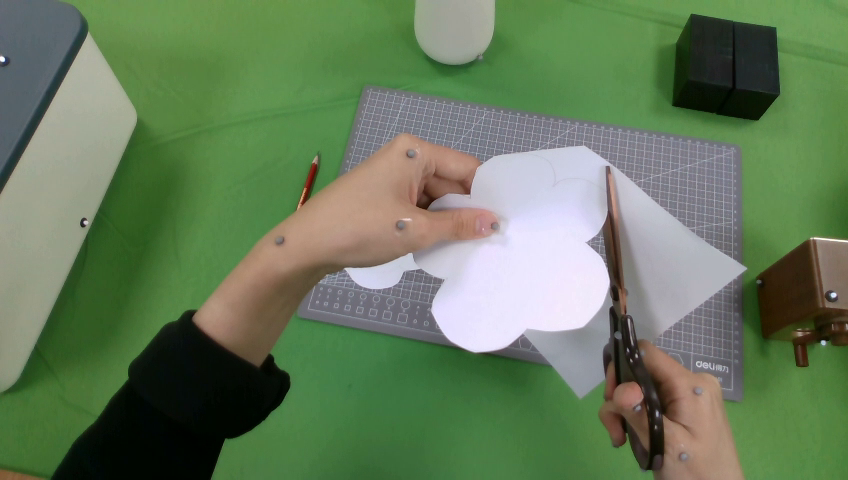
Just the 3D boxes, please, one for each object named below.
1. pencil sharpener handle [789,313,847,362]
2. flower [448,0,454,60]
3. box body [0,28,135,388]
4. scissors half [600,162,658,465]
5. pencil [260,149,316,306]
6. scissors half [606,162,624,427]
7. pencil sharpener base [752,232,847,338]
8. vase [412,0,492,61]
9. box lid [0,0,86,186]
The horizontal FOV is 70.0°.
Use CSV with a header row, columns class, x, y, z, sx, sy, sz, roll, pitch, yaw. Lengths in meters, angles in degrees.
class,x,y,z,sx,sy,sz,roll,pitch,yaw
pencil sharpener handle,0.362,0.090,0.551,0.036,0.068,0.030,12,66,-11
flower,0.028,-0.342,0.606,0.044,0.365,0.038,3,49,5
box body,-0.480,-0.053,0.589,0.254,0.161,0.361,10,67,4
scissors half,0.114,0.042,0.344,0.013,0.040,0.175,-9,89,2
pencil,-0.145,-0.020,0.661,0.012,0.012,0.193,11,66,5
scissors half,0.116,0.037,0.366,0.013,0.176,0.040,-7,24,7
pencil sharpener base,0.372,0.049,0.582,0.061,0.108,0.076,6,67,2
vase,0.032,-0.296,0.677,0.098,0.201,0.097,0,65,1
box lid,-0.480,-0.086,0.521,0.263,0.015,0.369,10,67,4
